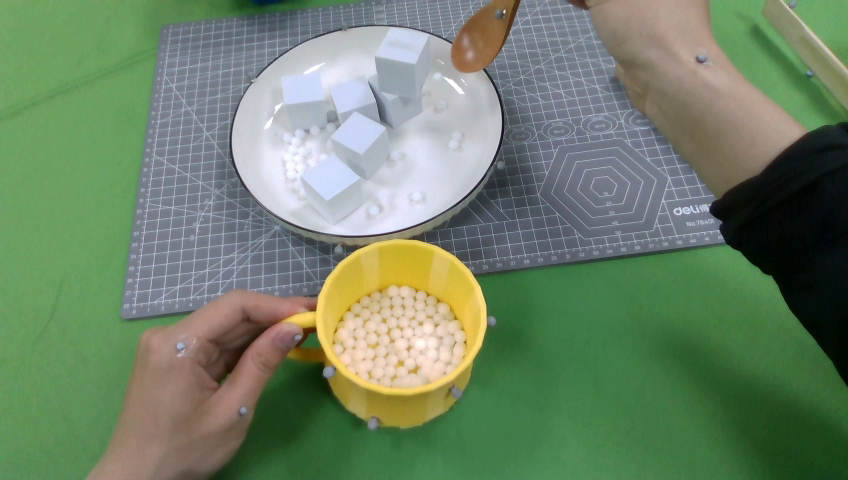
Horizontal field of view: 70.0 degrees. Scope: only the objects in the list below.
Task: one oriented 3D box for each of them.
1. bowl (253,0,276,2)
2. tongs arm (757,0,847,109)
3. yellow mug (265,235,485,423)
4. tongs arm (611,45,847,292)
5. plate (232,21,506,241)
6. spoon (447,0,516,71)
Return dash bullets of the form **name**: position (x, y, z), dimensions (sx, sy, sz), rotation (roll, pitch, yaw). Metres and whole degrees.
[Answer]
- **bowl**: position (-0.154, -0.280, 0.566), dimensions (0.151, 0.077, 0.150), rotation (-2, 61, 3)
- **tongs arm**: position (0.340, -0.047, 0.437), dimensions (0.051, 0.027, 0.381), rotation (-19, 64, -9)
- **yellow mug**: position (-0.031, 0.056, 0.373), dimensions (0.131, 0.064, 0.099), rotation (-4, 58, -7)
- **tongs arm**: position (0.267, -0.015, 0.424), dimensions (0.028, 0.028, 0.384), rotation (-30, 65, -18)
- **plate**: position (-0.041, -0.086, 0.474), dimensions (0.207, 0.039, 0.206), rotation (-1, 61, 2)
- **spoon**: position (0.070, -0.174, 0.380), dimensions (0.022, 0.194, 0.041), rotation (-7, 70, -31)
